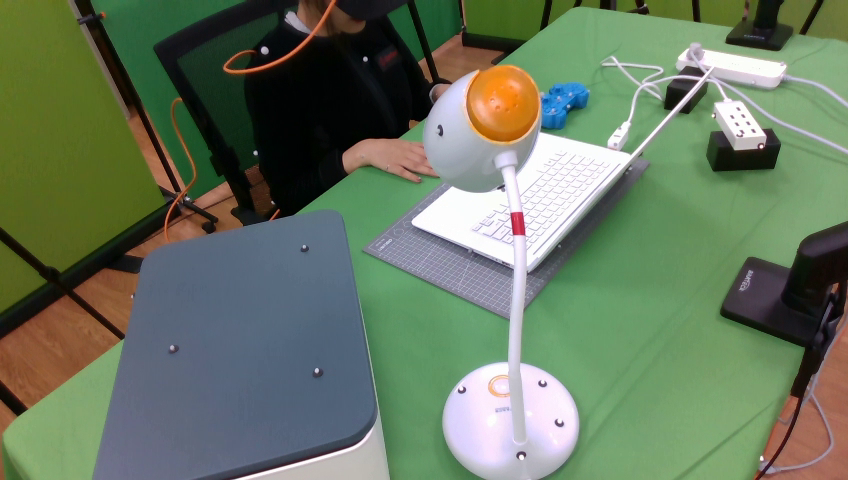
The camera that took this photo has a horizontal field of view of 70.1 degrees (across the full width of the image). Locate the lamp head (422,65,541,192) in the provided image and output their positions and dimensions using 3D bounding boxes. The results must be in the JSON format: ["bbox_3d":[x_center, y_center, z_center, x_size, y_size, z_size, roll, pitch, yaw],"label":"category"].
[{"bbox_3d":[0.060,-0.106,0.560,0.113,0.112,0.122,-16,0,-8],"label":"lamp head"}]

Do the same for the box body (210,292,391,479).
[{"bbox_3d":[-0.190,0.161,0.723,0.255,0.161,0.361,-13,40,-5],"label":"box body"}]

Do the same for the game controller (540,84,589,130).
[{"bbox_3d":[0.273,-0.282,1.251,0.096,0.052,0.155,26,52,30],"label":"game controller"}]

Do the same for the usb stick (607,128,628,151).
[{"bbox_3d":[0.353,-0.178,1.110,0.021,0.027,0.059,21,57,30],"label":"usb stick"}]

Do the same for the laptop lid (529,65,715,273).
[{"bbox_3d":[0.294,-0.104,0.895,0.013,0.241,0.358,42,56,11],"label":"laptop lid"}]

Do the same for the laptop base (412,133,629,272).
[{"bbox_3d":[0.176,-0.084,1.055,0.233,0.023,0.355,21,48,36],"label":"laptop base"}]

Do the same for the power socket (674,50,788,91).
[{"bbox_3d":[0.646,-0.363,1.284,0.225,0.033,0.072,25,52,34],"label":"power socket"}]

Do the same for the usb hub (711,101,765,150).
[{"bbox_3d":[0.537,-0.198,1.038,0.049,0.025,0.124,-5,39,8],"label":"usb hub"}]

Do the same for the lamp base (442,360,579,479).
[{"bbox_3d":[0.094,0.158,0.657,0.161,0.181,0.178,-14,42,-5],"label":"lamp base"}]

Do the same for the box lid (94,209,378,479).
[{"bbox_3d":[-0.202,0.094,0.680,0.264,0.015,0.368,-13,39,-5],"label":"box lid"}]

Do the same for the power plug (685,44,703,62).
[{"bbox_3d":[0.568,-0.390,1.294,0.073,0.053,0.035,-33,46,-22],"label":"power plug"}]
